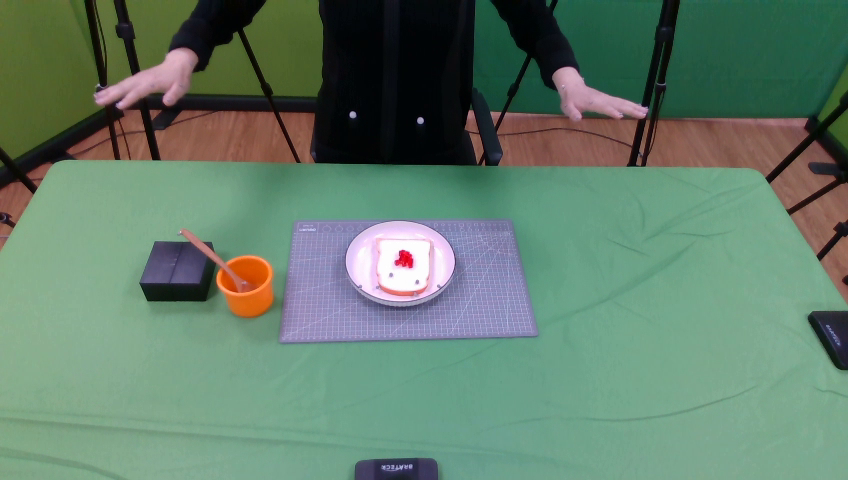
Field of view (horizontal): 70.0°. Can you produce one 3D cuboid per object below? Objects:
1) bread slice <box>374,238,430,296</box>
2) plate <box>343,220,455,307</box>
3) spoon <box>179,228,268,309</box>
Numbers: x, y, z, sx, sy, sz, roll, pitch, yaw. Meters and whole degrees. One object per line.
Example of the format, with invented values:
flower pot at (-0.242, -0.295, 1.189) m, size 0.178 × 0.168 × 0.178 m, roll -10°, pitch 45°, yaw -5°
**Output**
bread slice at (-0.039, 0.048, 1.135) m, size 0.107 × 0.018 × 0.133 m, roll -1°, pitch 46°, yaw -4°
plate at (-0.047, 0.046, 1.135) m, size 0.209 × 0.038 × 0.208 m, roll 2°, pitch 46°, yaw -2°
spoon at (-0.342, 0.048, 1.037) m, size 0.021 × 0.194 × 0.041 m, roll -19°, pitch 28°, yaw 44°
